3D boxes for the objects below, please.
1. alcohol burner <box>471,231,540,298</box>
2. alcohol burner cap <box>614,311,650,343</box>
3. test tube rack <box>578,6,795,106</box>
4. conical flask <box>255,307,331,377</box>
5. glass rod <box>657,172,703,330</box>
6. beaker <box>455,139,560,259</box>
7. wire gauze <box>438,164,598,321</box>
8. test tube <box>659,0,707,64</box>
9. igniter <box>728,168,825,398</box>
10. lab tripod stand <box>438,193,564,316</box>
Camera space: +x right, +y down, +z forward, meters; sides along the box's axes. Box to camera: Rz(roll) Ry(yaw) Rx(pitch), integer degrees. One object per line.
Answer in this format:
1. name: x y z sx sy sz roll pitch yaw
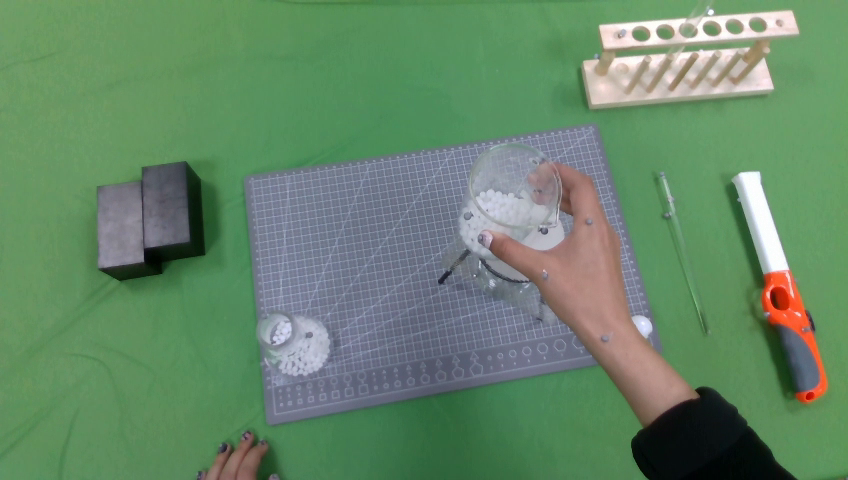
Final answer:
1. alcohol burner: 0.091 0.022 0.663 0.078 0.120 0.077 0 74 1
2. alcohol burner cap: 0.236 0.096 0.681 0.034 0.048 0.033 1 72 -1
3. test tube rack: 0.328 -0.230 0.764 0.242 0.085 0.066 -6 73 -3
4. conical flask: -0.141 0.100 0.629 0.075 0.122 0.075 0 72 -1
5. glass rod: 0.308 0.010 0.730 0.008 0.008 0.198 -8 76 -4
6. beaker: 0.067 -0.028 0.515 0.083 0.101 0.074 43 74 9
7. wire gauze: 0.092 -0.002 0.590 0.125 0.011 0.121 26 75 7
8. test tube: 0.310 -0.257 0.720 0.017 0.151 0.017 0 72 2
9. igniter: 0.412 0.044 0.712 0.057 0.025 0.274 -4 73 -14
10. lab tripod stand: 0.089 0.016 0.654 0.148 0.132 0.147 0 74 0
